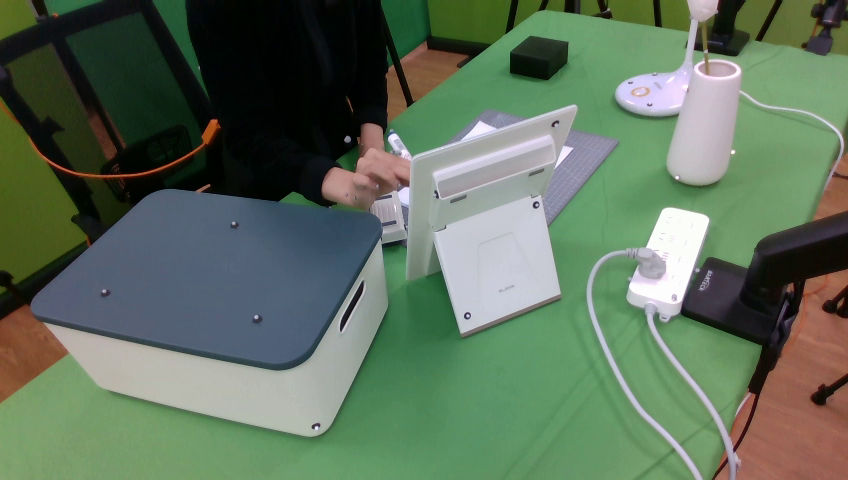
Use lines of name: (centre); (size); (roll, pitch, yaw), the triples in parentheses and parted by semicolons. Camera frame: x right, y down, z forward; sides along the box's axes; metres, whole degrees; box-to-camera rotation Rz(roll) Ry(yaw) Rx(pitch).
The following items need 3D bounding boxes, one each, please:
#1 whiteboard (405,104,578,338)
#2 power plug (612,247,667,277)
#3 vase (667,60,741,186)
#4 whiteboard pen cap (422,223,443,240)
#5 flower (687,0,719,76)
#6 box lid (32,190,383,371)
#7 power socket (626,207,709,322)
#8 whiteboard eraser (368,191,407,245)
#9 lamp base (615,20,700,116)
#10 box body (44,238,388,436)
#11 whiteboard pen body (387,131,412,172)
whiteboard: (0.102, 0.003, 0.787); (0.218, 0.306, 0.143); (-19, 62, -13)
power plug: (0.306, 0.031, 0.852); (0.072, 0.053, 0.035); (21, 48, 37)
vase: (0.463, -0.189, 0.995); (0.098, 0.201, 0.097); (-4, 40, 3)
whiteboard pen cap: (0.013, -0.013, 0.988); (0.033, 0.018, 0.018); (-31, 46, -22)
flower: (0.436, -0.242, 0.934); (0.038, 0.364, 0.043); (-24, 49, 9)
box lid: (-0.257, 0.032, 0.750); (0.370, 0.015, 0.263); (7, 41, 16)
power socket: (0.360, 0.026, 0.886); (0.072, 0.033, 0.227); (17, 46, 27)
whiteboard eraser: (-0.061, -0.035, 1.005); (0.056, 0.042, 0.112); (-9, 40, -3)
lamp base: (0.484, -0.364, 1.211); (0.180, 0.181, 0.159); (-15, 41, -14)
box body: (-0.251, 0.088, 0.799); (0.362, 0.161, 0.254); (7, 42, 16)
whiteboard pen body: (-0.015, -0.096, 0.808); (0.017, 0.017, 0.139); (-22, 59, -17)
